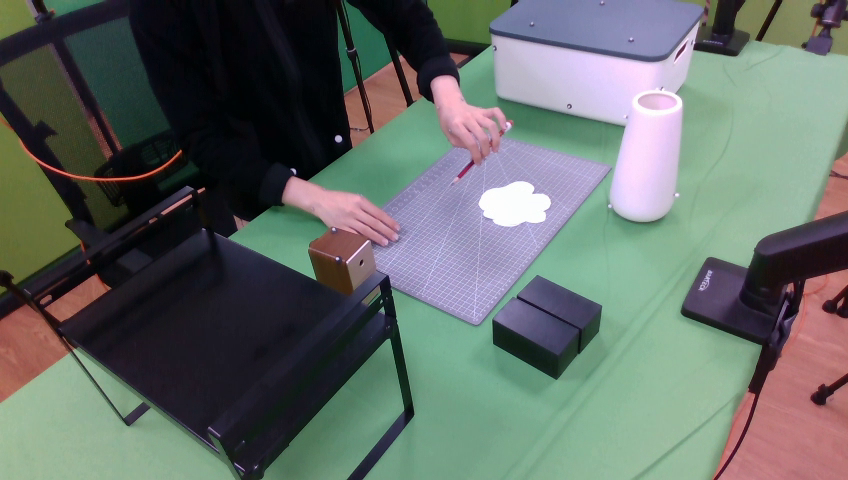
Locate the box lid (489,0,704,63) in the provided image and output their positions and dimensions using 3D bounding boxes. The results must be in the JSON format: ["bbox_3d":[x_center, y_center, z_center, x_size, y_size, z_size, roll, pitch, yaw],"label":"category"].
[{"bbox_3d":[0.345,-0.441,1.217,0.369,0.015,0.264,21,49,29],"label":"box lid"}]

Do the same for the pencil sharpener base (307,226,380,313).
[{"bbox_3d":[-0.116,0.043,0.875,0.076,0.107,0.061,18,47,27],"label":"pencil sharpener base"}]

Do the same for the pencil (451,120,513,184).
[{"bbox_3d":[0.094,-0.141,0.961,0.012,0.012,0.194,20,48,28],"label":"pencil"}]

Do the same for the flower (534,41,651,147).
[{"bbox_3d":[0.364,-0.319,1.318,0.038,0.044,0.359,-4,48,-50],"label":"flower"}]

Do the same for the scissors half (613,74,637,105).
[{"bbox_3d":[0.427,-0.330,1.306,0.013,0.040,0.174,31,31,-14],"label":"scissors half"}]

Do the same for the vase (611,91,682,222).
[{"bbox_3d":[0.348,-0.125,0.935,0.098,0.201,0.097,-3,40,3],"label":"vase"}]

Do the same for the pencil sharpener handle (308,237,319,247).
[{"bbox_3d":[-0.158,0.017,0.892,0.030,0.068,0.036,18,61,28],"label":"pencil sharpener handle"}]

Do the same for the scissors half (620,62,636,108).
[{"bbox_3d":[0.434,-0.340,1.298,0.013,0.040,0.174,25,42,-12],"label":"scissors half"}]

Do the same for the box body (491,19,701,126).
[{"bbox_3d":[0.352,-0.384,1.268,0.361,0.161,0.255,21,48,29],"label":"box body"}]
